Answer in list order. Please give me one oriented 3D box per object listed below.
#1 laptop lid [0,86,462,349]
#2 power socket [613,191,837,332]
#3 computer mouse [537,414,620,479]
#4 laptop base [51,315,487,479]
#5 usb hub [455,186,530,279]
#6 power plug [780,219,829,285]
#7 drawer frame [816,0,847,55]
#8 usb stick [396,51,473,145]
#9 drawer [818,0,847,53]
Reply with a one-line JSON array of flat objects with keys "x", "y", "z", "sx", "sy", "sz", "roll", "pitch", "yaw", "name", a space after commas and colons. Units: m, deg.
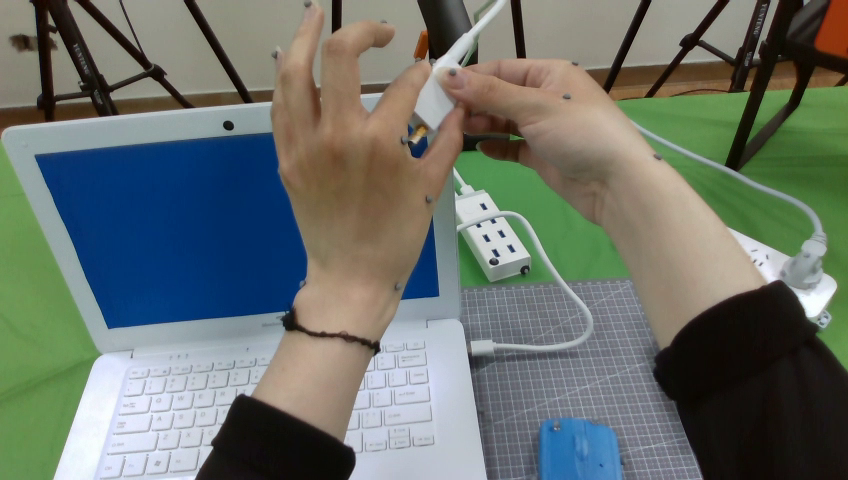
[{"x": -0.146, "y": -0.008, "z": 0.531, "sx": 0.357, "sy": 0.244, "sz": 0.013, "roll": -7, "pitch": 32, "yaw": -1, "name": "laptop lid"}, {"x": 0.310, "y": 0.016, "z": 0.635, "sx": 0.072, "sy": 0.033, "sz": 0.224, "roll": -35, "pitch": 52, "yaw": -29, "name": "power socket"}, {"x": 0.118, "y": 0.184, "z": 0.468, "sx": 0.062, "sy": 0.041, "sz": 0.116, "roll": 4, "pitch": 40, "yaw": 11, "name": "computer mouse"}, {"x": -0.129, "y": 0.176, "z": 0.510, "sx": 0.354, "sy": 0.023, "sz": 0.233, "roll": -5, "pitch": 48, "yaw": -2, "name": "laptop base"}, {"x": 0.070, "y": -0.012, "z": 0.683, "sx": 0.049, "sy": 0.025, "sz": 0.123, "roll": -16, "pitch": 46, "yaw": -12, "name": "usb hub"}, {"x": 0.382, "y": 0.020, "z": 0.595, "sx": 0.072, "sy": 0.053, "sz": 0.035, "roll": -29, "pitch": 48, "yaw": -21, "name": "power plug"}, {"x": 0.525, "y": -0.235, "z": 0.585, "sx": 0.200, "sy": 0.083, "sz": 0.213, "roll": 27, "pitch": 51, "yaw": 28, "name": "drawer frame"}, {"x": 0.003, "y": -0.087, "z": 0.378, "sx": 0.059, "sy": 0.027, "sz": 0.021, "roll": -56, "pitch": 19, "yaw": -13, "name": "usb stick"}, {"x": 0.523, "y": -0.233, "z": 0.584, "sx": 0.193, "sy": 0.074, "sz": 0.211, "roll": 28, "pitch": 52, "yaw": 29, "name": "drawer"}]
